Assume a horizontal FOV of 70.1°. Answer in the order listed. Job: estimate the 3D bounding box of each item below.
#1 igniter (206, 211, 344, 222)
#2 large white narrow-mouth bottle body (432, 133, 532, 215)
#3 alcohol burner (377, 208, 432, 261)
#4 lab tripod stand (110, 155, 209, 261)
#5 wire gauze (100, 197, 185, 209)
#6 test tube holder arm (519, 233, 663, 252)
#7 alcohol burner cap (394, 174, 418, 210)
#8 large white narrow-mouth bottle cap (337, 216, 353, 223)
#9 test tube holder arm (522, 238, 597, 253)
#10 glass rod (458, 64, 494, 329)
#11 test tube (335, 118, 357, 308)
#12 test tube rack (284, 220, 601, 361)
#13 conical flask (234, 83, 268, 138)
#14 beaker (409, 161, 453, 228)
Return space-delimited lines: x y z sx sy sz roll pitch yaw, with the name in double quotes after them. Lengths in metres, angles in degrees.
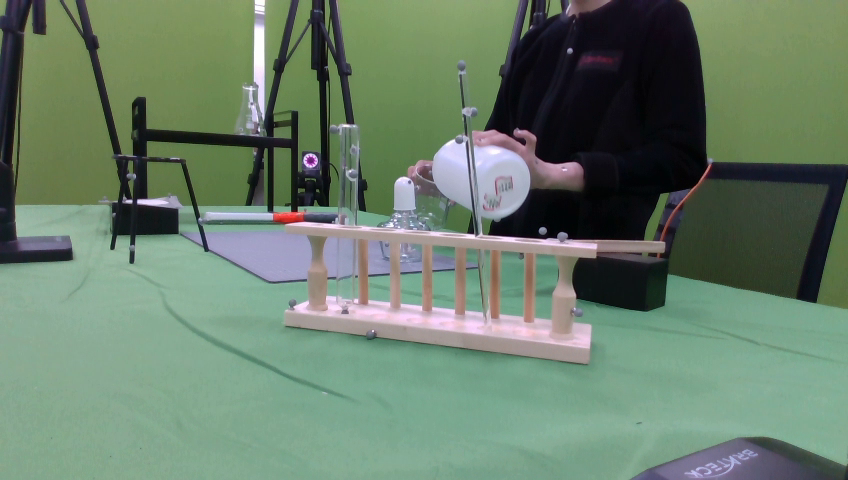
-0.302 -0.048 1.249 0.278 0.025 0.057 -2 -2 -27 "igniter"
0.071 -0.109 0.912 0.102 0.101 0.193 -2 19 -27 "large white narrow-mouth bottle body"
-0.027 -0.031 0.838 0.078 0.119 0.078 0 6 0 "alcohol burner"
-0.361 -0.046 0.806 0.148 0.131 0.148 2 5 0 "lab tripod stand"
-0.469 -0.062 1.008 0.126 0.011 0.121 -2 8 -25 "wire gauze"
0.185 0.001 0.658 0.179 0.015 0.013 -3 21 -21 "test tube holder arm"
-0.026 -0.067 0.834 0.034 0.048 0.034 -1 12 1 "alcohol burner cap"
-0.161 -0.036 1.231 0.038 0.024 0.037 2 8 0 "large white narrow-mouth bottle cap"
0.144 0.005 0.637 0.088 0.015 0.010 -2 21 -20 "test tube holder arm"
0.040 -0.029 0.450 0.008 0.199 0.008 -7 9 1 "glass rod"
-0.061 -0.019 0.476 0.017 0.150 0.017 2 10 0 "test tube"
0.013 0.032 0.482 0.242 0.085 0.067 4 7 16 "test tube rack"
-0.400 -0.298 1.396 0.075 0.122 0.075 2 8 0 "conical flask"
0.017 -0.075 1.045 0.083 0.100 0.074 30 36 27 "beaker"
